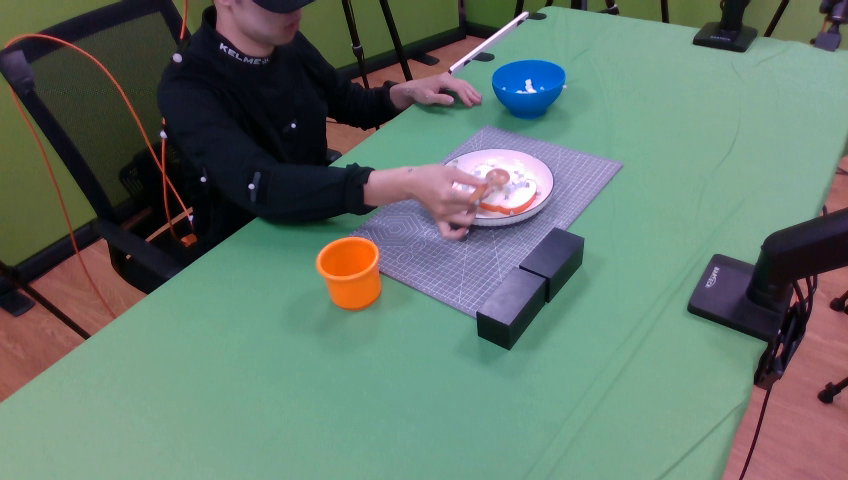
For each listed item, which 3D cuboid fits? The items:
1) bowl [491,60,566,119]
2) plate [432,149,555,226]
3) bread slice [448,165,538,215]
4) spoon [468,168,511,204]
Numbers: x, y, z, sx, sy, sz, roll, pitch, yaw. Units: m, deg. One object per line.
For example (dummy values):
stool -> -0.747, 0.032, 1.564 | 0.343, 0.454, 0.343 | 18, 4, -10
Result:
bowl -> 0.215, -0.303, 1.248 | 0.151, 0.077, 0.150 | -4, 41, 4
plate -> 0.120, -0.087, 1.037 | 0.209, 0.038, 0.208 | -4, 40, 4
bread slice -> 0.126, -0.085, 1.038 | 0.133, 0.018, 0.107 | 17, 45, 27
spoon -> 0.099, -0.087, 0.947 | 0.041, 0.021, 0.194 | 20, 21, 15
